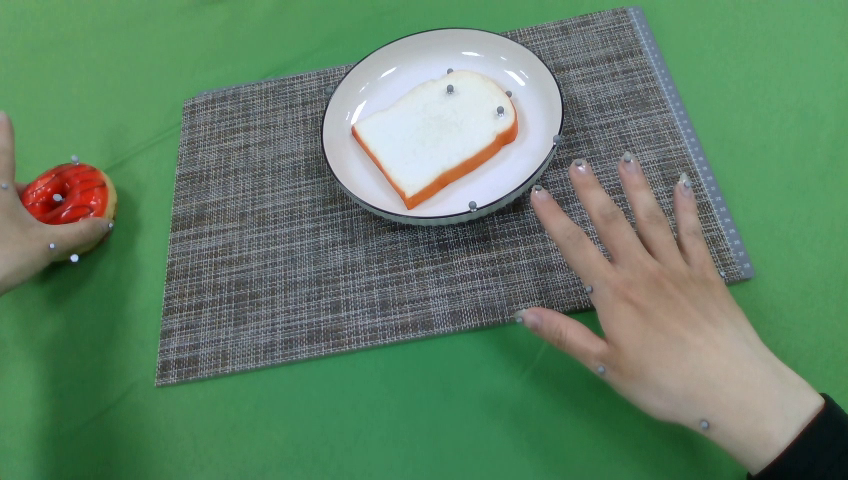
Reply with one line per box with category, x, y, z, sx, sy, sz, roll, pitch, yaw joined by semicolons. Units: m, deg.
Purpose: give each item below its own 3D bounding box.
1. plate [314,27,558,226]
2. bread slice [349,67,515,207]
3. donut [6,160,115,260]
plate;0.010;-0.097;0.527;0.207;0.039;0.206;-4;61;7
bread slice;0.011;-0.100;0.530;0.131;0.019;0.104;-33;62;-9
donut;-0.328;-0.028;0.546;0.099;0.049;0.098;-5;62;10
